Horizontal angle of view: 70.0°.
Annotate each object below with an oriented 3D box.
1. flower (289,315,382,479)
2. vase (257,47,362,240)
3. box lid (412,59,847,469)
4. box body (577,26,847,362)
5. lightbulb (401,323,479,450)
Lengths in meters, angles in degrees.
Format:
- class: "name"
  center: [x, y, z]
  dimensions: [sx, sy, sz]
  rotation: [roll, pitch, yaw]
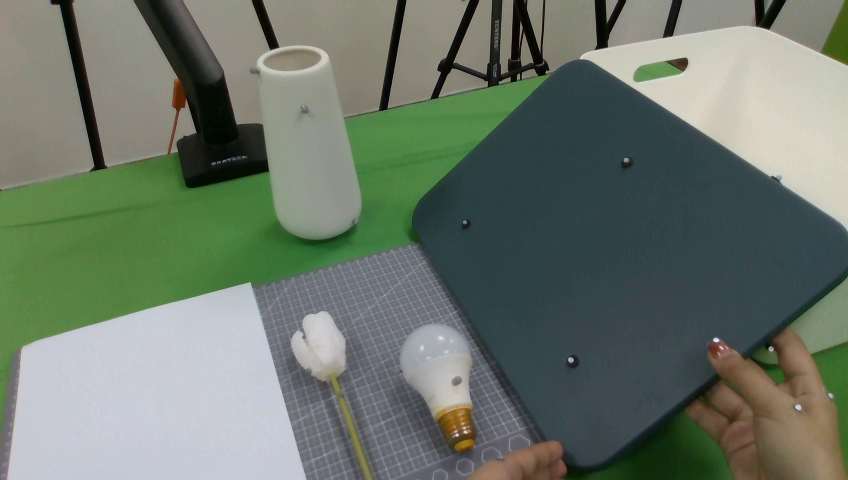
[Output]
- class: "flower"
  center: [-0.028, 0.189, 0.437]
  dimensions: [0.044, 0.038, 0.357]
  rotation: [-39, 49, 3]
- class: "vase"
  center: [-0.124, -0.098, 0.649]
  dimensions: [0.098, 0.202, 0.097]
  rotation: [-2, 39, 2]
- class: "box lid"
  center: [0.141, -0.010, 0.551]
  dimensions: [0.263, 0.015, 0.367]
  rotation: [-43, 42, 10]
- class: "box body"
  center: [0.345, -0.071, 0.627]
  dimensions: [0.255, 0.162, 0.359]
  rotation: [-14, 41, -14]
- class: "lightbulb"
  center: [0.018, 0.118, 0.493]
  dimensions: [0.059, 0.060, 0.106]
  rotation: [-13, 56, -13]
